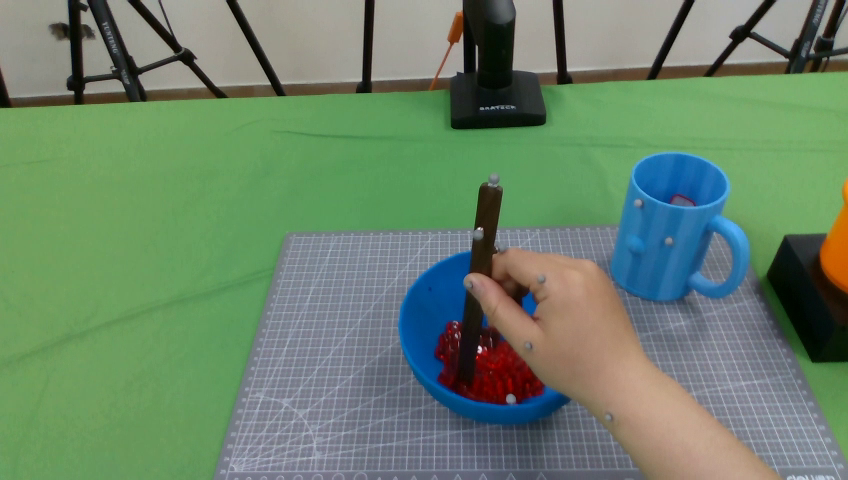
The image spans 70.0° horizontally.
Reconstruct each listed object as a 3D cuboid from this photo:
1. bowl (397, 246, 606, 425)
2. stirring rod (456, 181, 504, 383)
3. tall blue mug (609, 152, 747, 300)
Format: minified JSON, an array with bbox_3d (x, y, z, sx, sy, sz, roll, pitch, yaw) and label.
[{"bbox_3d":[0.057,0.083,0.463,0.151,0.077,0.150,-2,43,2],"label":"bowl"},{"bbox_3d":[0.034,0.036,0.392,0.014,0.177,0.006,13,41,12],"label":"stirring rod"},{"bbox_3d":[0.222,-0.006,0.521,0.106,0.109,0.077,19,47,22],"label":"tall blue mug"}]
